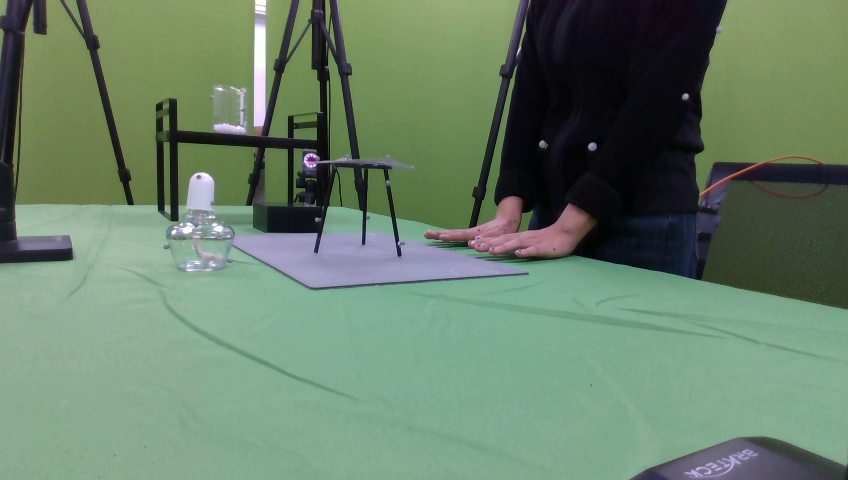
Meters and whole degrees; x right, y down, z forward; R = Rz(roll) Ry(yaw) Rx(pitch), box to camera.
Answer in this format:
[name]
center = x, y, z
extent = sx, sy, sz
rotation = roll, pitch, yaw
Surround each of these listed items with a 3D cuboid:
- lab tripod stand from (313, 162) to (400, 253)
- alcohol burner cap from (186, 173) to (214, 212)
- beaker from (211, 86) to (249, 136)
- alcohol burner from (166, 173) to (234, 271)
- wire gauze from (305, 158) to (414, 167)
[lab tripod stand]
center = -0.097, -0.051, 0.906
extent = 0.148, 0.131, 0.148
rotation = 1, 6, 0
[alcohol burner cap]
center = -0.268, -0.057, 0.730
extent = 0.034, 0.048, 0.034
rotation = 5, 2, 0
[beaker]
center = -0.413, -0.274, 1.297
extent = 0.074, 0.100, 0.083
rotation = -5, 11, -44
[alcohol burner]
center = -0.271, -0.022, 0.735
extent = 0.078, 0.119, 0.078
rotation = 2, 5, 0
[wire gauze]
center = -0.092, -0.117, 0.894
extent = 0.121, 0.011, 0.125
rotation = 4, 7, 19
